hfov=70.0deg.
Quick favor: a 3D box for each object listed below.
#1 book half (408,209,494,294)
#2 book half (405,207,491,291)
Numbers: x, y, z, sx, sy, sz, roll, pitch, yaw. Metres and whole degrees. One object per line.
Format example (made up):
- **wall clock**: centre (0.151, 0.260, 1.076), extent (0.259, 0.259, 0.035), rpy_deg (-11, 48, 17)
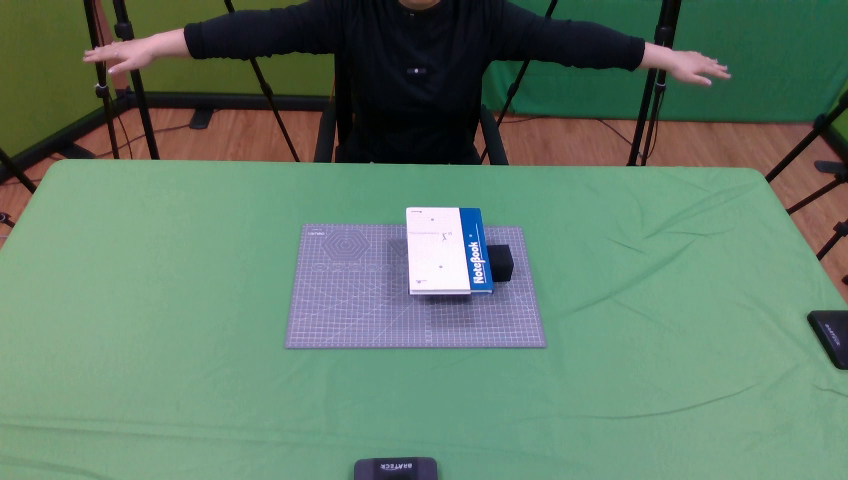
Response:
- **book half**: centre (0.042, 0.016, 1.119), extent (0.149, 0.016, 0.209), rpy_deg (1, 46, -5)
- **book half**: centre (0.039, 0.011, 1.113), extent (0.143, 0.007, 0.208), rpy_deg (0, 46, -5)
